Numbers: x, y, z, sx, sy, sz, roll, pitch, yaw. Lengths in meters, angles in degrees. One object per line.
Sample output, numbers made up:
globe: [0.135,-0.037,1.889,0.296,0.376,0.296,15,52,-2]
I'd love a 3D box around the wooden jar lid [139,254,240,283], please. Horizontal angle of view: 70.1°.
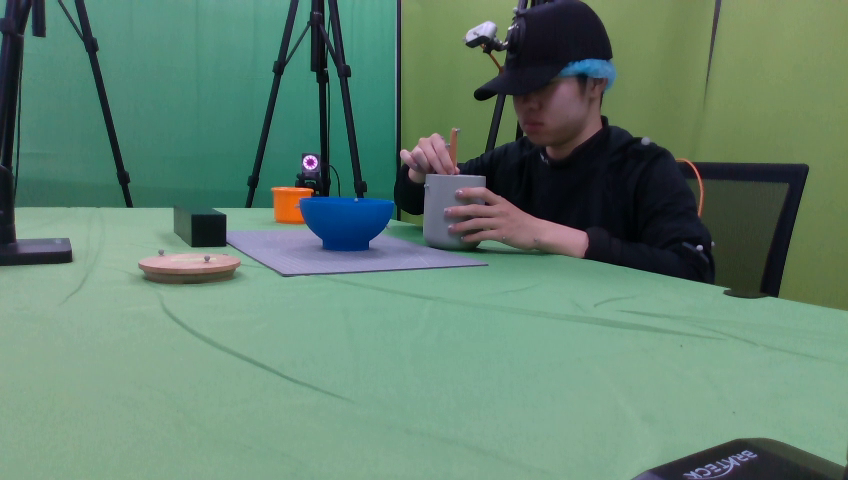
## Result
wooden jar lid: [-0.269,0.032,0.697,0.108,0.020,0.108,2,5,0]

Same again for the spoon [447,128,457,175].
spoon: [0.038,-0.093,1.022,0.022,0.193,0.041,8,2,-39]

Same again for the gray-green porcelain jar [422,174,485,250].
gray-green porcelain jar: [0.050,-0.049,1.040,0.106,0.126,0.106,2,8,0]

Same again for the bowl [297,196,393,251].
bowl: [-0.125,-0.026,0.957,0.151,0.077,0.151,2,7,0]
